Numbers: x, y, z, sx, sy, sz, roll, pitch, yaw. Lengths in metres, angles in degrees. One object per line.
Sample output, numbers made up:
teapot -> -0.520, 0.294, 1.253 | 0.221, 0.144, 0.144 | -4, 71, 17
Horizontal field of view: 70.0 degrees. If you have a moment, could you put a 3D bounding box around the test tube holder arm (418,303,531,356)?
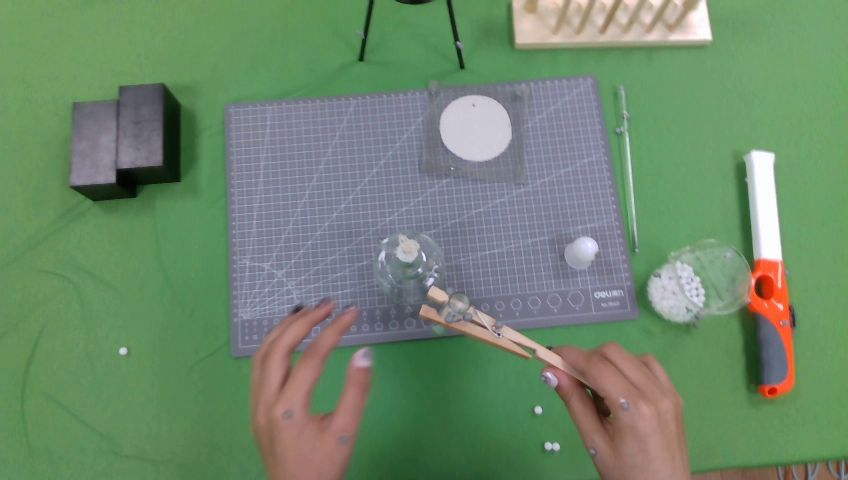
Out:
test tube holder arm -> 0.038, 0.066, 0.447 | 0.088, 0.015, 0.010 | 20, 80, 2

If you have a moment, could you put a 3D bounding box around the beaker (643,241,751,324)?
beaker -> 0.278, 0.047, 0.638 | 0.084, 0.101, 0.074 | 26, 76, 7

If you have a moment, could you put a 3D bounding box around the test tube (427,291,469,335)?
test tube -> 0.016, 0.059, 0.469 | 0.017, 0.150, 0.017 | 1, 76, -5

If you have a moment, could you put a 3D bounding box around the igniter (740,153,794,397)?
igniter -> 0.382, 0.035, 0.680 | 0.057, 0.025, 0.275 | 6, 76, -10

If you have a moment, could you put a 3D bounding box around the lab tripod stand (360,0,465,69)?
lab tripod stand -> -0.011, -0.265, 0.691 | 0.148, 0.132, 0.147 | 0, 78, -1

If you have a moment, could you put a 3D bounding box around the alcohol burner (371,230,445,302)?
alcohol burner -> -0.017, 0.023, 0.628 | 0.078, 0.119, 0.077 | 0, 75, 1

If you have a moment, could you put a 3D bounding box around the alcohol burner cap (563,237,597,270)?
alcohol burner cap -> 0.175, 0.012, 0.671 | 0.034, 0.048, 0.033 | 0, 76, -1

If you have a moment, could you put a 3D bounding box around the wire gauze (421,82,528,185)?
wire gauze -> 0.062, -0.130, 0.721 | 0.125, 0.011, 0.121 | 6, 77, 0

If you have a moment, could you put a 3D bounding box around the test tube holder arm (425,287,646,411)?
test tube holder arm -> 0.081, 0.080, 0.446 | 0.178, 0.015, 0.013 | 26, 81, 3

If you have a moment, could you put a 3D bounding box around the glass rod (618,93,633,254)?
glass rod -> 0.238, -0.081, 0.715 | 0.008, 0.008, 0.199 | 1, 79, -1

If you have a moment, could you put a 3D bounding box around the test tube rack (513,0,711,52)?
test tube rack -> 0.234, -0.279, 0.724 | 0.242, 0.085, 0.066 | -1, 76, -1
